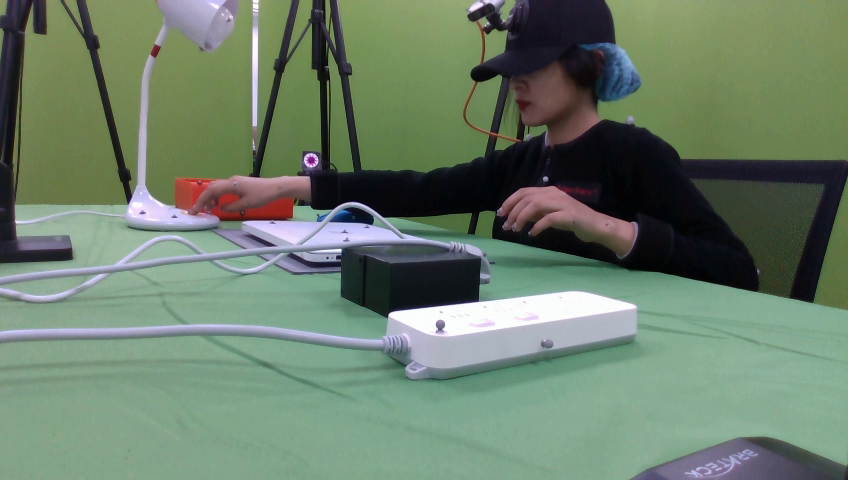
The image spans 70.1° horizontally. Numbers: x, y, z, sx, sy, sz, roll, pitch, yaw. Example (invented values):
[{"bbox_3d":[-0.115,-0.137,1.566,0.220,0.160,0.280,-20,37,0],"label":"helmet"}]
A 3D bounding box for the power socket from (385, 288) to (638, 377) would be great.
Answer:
[{"bbox_3d":[0.074,0.064,0.462,0.228,0.032,0.072,-3,8,-34],"label":"power socket"}]

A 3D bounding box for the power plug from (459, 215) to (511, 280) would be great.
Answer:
[{"bbox_3d":[0.063,0.010,0.622,0.053,0.072,0.035,-7,40,0],"label":"power plug"}]

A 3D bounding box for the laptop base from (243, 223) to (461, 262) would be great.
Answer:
[{"bbox_3d":[-0.126,0.003,0.945,0.237,0.023,0.352,2,6,-31],"label":"laptop base"}]

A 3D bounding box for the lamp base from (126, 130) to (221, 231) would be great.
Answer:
[{"bbox_3d":[-0.469,-0.111,1.108,0.179,0.180,0.160,0,7,3],"label":"lamp base"}]

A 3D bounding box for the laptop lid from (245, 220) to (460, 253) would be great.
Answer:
[{"bbox_3d":[-0.124,-0.009,0.945,0.243,0.013,0.355,1,7,-29],"label":"laptop lid"}]

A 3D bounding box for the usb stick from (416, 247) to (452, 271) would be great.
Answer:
[{"bbox_3d":[0.009,0.024,0.754,0.027,0.021,0.059,37,-17,-16],"label":"usb stick"}]

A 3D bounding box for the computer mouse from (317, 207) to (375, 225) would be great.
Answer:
[{"bbox_3d":[-0.164,-0.047,1.263,0.118,0.041,0.062,-6,12,-29],"label":"computer mouse"}]

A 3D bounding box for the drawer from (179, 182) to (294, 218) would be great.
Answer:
[{"bbox_3d":[-0.420,-0.091,1.354,0.213,0.073,0.193,-3,10,-31],"label":"drawer"}]

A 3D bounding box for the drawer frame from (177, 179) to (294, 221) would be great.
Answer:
[{"bbox_3d":[-0.422,-0.092,1.352,0.215,0.082,0.200,-3,10,-32],"label":"drawer frame"}]

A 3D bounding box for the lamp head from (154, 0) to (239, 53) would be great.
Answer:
[{"bbox_3d":[-0.406,-0.402,1.059,0.123,0.112,0.112,25,5,-6],"label":"lamp head"}]
